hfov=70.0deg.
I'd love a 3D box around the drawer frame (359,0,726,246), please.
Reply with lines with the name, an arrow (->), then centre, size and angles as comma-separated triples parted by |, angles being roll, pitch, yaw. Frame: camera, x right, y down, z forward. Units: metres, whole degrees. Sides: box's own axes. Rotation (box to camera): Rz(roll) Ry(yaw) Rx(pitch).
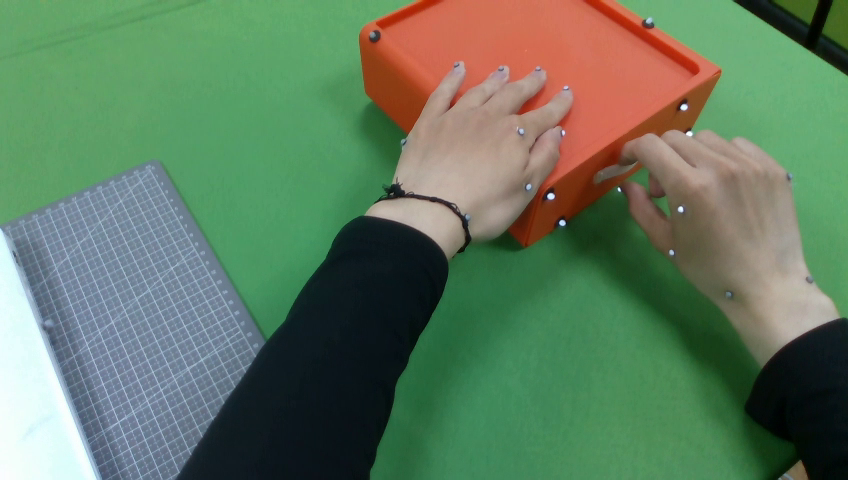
drawer frame -> 0.090, -0.129, 0.501 | 0.201, 0.083, 0.211 | -34, 63, -21

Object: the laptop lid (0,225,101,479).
laptop lid -> -0.388, 0.146, 0.334 | 0.357, 0.013, 0.239 | -27, 64, -18

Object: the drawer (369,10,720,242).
drawer -> 0.091, -0.128, 0.501 | 0.194, 0.074, 0.210 | -34, 62, -20

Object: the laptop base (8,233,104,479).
laptop base -> -0.390, 0.151, 0.345 | 0.354, 0.023, 0.233 | -29, 65, -19
